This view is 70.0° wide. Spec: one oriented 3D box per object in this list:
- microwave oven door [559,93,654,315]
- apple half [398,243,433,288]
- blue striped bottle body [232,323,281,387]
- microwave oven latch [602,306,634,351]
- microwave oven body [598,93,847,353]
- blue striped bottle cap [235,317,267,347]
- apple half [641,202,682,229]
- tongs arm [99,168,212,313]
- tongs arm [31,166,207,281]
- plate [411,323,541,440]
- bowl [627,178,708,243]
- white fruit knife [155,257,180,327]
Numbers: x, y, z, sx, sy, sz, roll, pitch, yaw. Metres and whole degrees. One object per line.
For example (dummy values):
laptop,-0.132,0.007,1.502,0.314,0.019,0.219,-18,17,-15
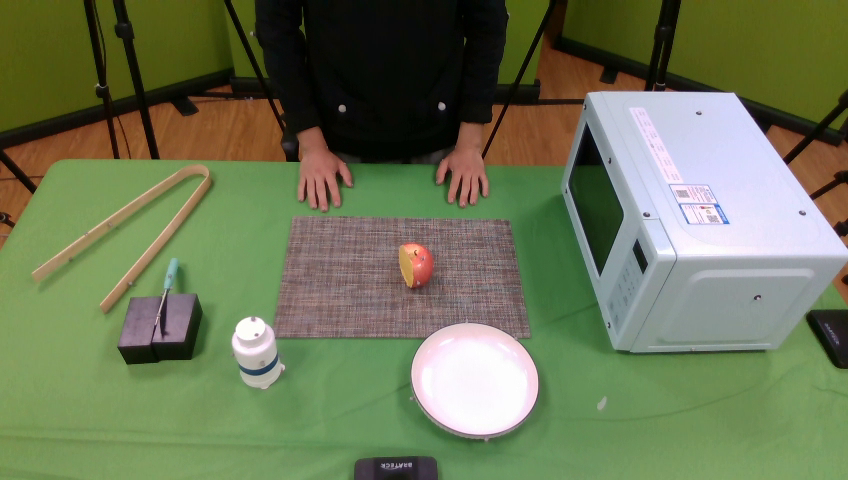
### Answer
microwave oven door,0.327,-0.074,1.123,0.039,0.245,0.353,-1,46,-5
apple half,-0.012,0.046,1.115,0.053,0.075,0.080,-11,44,-20
blue striped bottle body,-0.262,0.172,0.944,0.063,0.121,0.062,2,46,-2
microwave oven latch,0.332,0.153,1.044,0.030,0.029,0.078,-1,45,-4
microwave oven body,0.475,-0.041,1.109,0.326,0.261,0.438,-1,45,-4
blue striped bottle cap,-0.259,0.137,0.907,0.044,0.021,0.044,3,43,-2
apple half,0.456,-0.054,1.160,0.081,0.033,0.081,-3,33,2
tongs arm,-0.504,-0.012,1.167,0.028,0.028,0.385,11,46,11
tongs arm,-0.578,-0.040,1.185,0.050,0.026,0.384,23,48,17
plate,0.082,0.228,0.976,0.208,0.039,0.206,2,45,-2
bowl,0.456,-0.047,1.168,0.151,0.077,0.150,7,36,-5
white fruit knife,-0.440,0.085,1.037,0.016,0.027,0.206,10,26,-19
